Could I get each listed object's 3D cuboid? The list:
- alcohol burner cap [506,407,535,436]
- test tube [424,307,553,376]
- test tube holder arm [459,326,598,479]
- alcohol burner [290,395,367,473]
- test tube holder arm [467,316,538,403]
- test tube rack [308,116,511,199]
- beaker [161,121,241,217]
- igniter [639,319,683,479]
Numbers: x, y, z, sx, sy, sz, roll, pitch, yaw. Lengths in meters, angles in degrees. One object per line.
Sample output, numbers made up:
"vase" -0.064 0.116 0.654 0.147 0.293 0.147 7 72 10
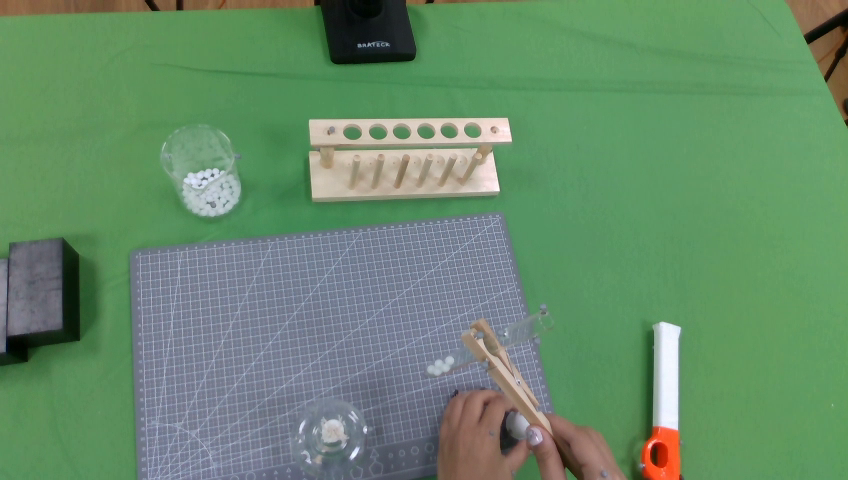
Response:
"alcohol burner cap" 0.113 0.202 0.679 0.034 0.048 0.033 2 69 -4
"test tube" 0.046 0.086 0.494 0.017 0.150 0.017 20 54 -30
"test tube holder arm" 0.089 0.139 0.500 0.179 0.015 0.013 51 45 -11
"alcohol burner" -0.094 0.191 0.603 0.078 0.119 0.077 5 66 -10
"test tube holder arm" 0.065 0.101 0.497 0.088 0.015 0.010 57 43 -6
"test tube rack" -0.019 -0.102 0.751 0.243 0.085 0.066 -3 70 -12
"beaker" -0.248 -0.073 0.687 0.074 0.100 0.083 -4 70 -12
"igniter" 0.279 0.228 0.712 0.057 0.025 0.274 17 67 -15
